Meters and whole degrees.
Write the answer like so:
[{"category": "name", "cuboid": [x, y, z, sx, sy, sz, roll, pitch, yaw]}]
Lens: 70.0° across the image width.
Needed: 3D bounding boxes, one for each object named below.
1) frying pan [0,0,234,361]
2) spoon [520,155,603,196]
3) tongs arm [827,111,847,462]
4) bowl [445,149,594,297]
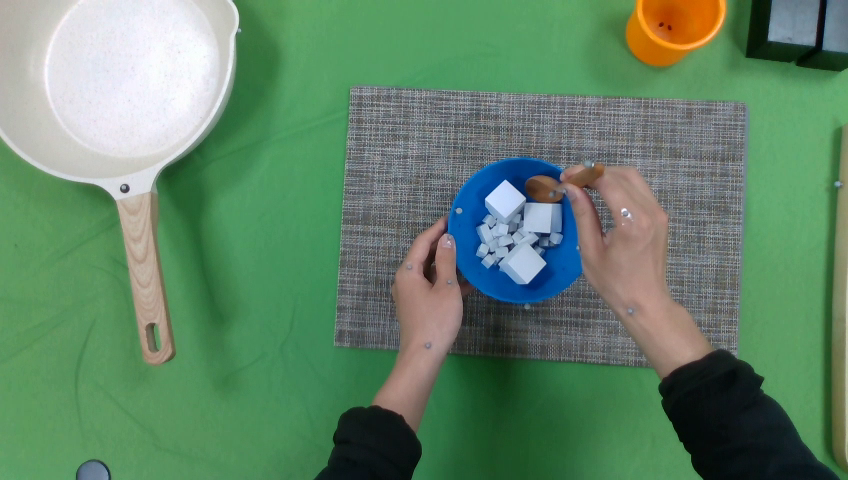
[{"category": "frying pan", "cuboid": [-0.327, -0.108, 0.663, 0.307, 0.103, 0.485, -13, 79, 3]}, {"category": "spoon", "cuboid": [0.126, -0.057, 0.557, 0.042, 0.193, 0.021, 31, 90, -4]}, {"category": "tongs arm", "cuboid": [0.461, 0.051, 0.661, 0.028, 0.028, 0.387, 2, 88, 2]}, {"category": "bowl", "cuboid": [0.099, -0.016, 0.649, 0.151, 0.077, 0.151, 0, 88, 3]}]
